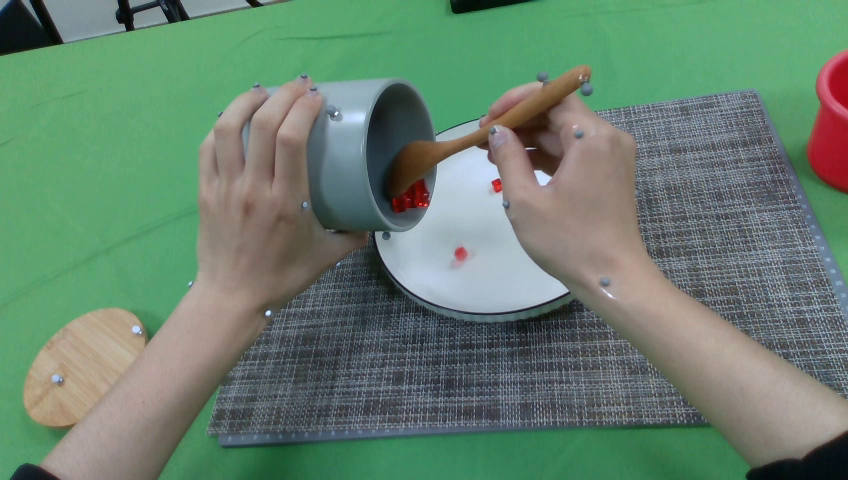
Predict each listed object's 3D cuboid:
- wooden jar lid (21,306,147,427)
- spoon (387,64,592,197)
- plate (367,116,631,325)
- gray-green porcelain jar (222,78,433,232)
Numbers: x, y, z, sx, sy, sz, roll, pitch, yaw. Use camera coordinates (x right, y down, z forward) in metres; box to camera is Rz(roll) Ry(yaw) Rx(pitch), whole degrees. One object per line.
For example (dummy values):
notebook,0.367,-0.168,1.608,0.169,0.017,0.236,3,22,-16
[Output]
wooden jar lid,-0.280,0.105,0.507,0.108,0.021,0.107,-7,52,9
spoon,0.030,-0.068,0.387,0.193,0.022,0.041,-18,55,48
plate,0.058,-0.018,0.492,0.207,0.039,0.205,-7,51,10
gray-green porcelain jar,-0.071,-0.061,0.441,0.126,0.107,0.105,4,54,25
